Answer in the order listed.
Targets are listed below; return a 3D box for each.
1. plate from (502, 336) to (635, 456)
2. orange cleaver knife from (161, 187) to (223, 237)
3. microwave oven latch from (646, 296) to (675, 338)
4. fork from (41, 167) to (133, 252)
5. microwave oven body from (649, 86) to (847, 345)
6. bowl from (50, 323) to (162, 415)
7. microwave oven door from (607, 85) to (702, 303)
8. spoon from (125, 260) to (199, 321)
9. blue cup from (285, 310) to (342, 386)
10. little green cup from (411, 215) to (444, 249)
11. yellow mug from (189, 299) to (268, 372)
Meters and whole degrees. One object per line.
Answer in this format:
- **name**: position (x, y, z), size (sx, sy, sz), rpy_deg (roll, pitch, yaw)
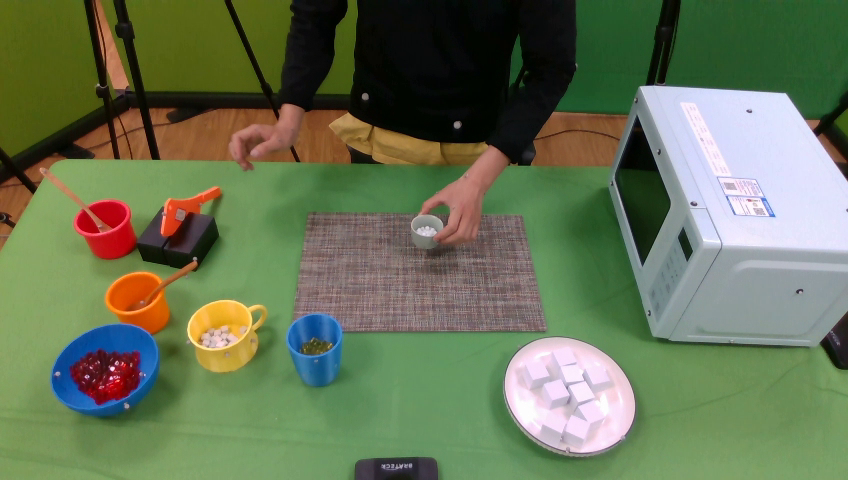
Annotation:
- **plate**: position (0.225, 0.248, 0.963), size (0.208, 0.039, 0.206), rpy_deg (2, 46, -2)
- **orange cleaver knife**: position (-0.448, -0.058, 1.181), size (0.012, 0.077, 0.211), rpy_deg (13, 17, 6)
- **microwave oven latch**: position (0.412, 0.134, 1.061), size (0.030, 0.029, 0.078), rpy_deg (4, 45, 1)
- **fork**: position (-0.624, -0.056, 1.121), size (0.208, 0.018, 0.028), rpy_deg (49, 52, -15)
- **microwave oven body**: position (0.568, -0.053, 1.118), size (0.326, 0.261, 0.439), rpy_deg (2, 45, -1)
- **bowl**: position (-0.472, 0.209, 0.924), size (0.151, 0.077, 0.150), rpy_deg (3, 45, -2)
- **microwave oven door**: position (0.423, -0.094, 1.141), size (0.039, 0.245, 0.353), rpy_deg (2, 46, -1)
- **spoon**: position (-0.434, 0.083, 0.999), size (0.022, 0.194, 0.041), rpy_deg (35, 34, -34)
- **blue cup**: position (-0.170, 0.179, 0.958), size (0.093, 0.101, 0.092), rpy_deg (2, 44, -1)
- **little green cup**: position (0.005, -0.015, 1.144), size (0.061, 0.039, 0.061), rpy_deg (6, 44, -6)
- **yellow mug**: position (-0.316, 0.148, 1.002), size (0.131, 0.064, 0.099), rpy_deg (-32, 56, -31)
